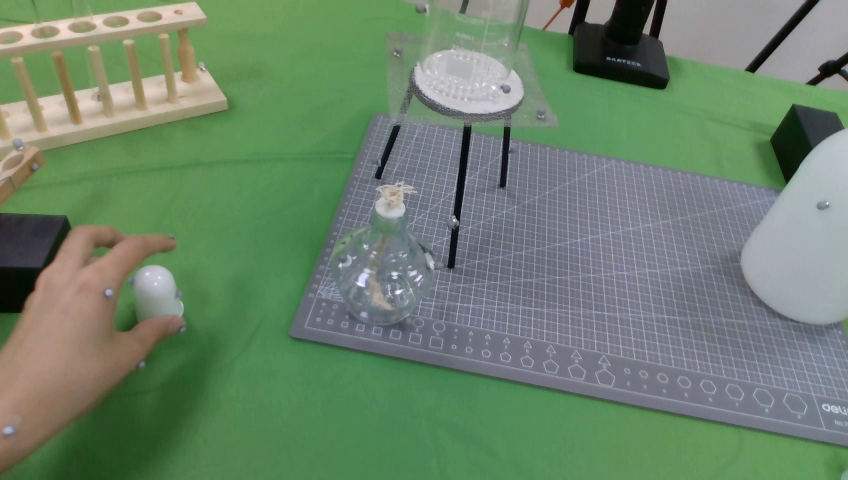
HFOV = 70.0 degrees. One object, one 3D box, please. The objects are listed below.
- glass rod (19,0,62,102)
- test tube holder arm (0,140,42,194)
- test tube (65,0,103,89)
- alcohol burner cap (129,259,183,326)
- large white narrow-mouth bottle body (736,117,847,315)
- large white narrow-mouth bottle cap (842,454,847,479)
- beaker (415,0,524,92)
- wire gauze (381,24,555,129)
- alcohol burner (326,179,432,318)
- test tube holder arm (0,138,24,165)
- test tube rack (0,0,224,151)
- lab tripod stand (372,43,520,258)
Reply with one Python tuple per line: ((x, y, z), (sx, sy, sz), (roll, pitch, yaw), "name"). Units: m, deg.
((-0.338, -0.206, 0.507), (0.008, 0.201, 0.008), (2, 41, -1), "glass rod")
((-0.305, -0.040, 0.430), (0.010, 0.015, 0.087), (13, 45, 3), "test tube holder arm")
((-0.305, -0.202, 0.534), (0.017, 0.151, 0.017), (6, 42, -5), "test tube")
((-0.191, 0.035, 0.429), (0.034, 0.048, 0.033), (6, 43, -5), "alcohol burner cap")
((0.336, -0.034, 0.477), (0.102, 0.196, 0.101), (4, 46, -4), "large white narrow-mouth bottle body")
((0.312, 0.158, 0.417), (0.038, 0.024, 0.037), (5, 46, -5), "large white narrow-mouth bottle cap")
((0.031, -0.164, 0.429), (0.084, 0.101, 0.073), (6, 48, -4), "beaker")
((0.029, -0.127, 0.463), (0.122, 0.011, 0.124), (0, 51, -8), "wire gauze")
((-0.030, 0.002, 0.435), (0.078, 0.120, 0.077), (7, 45, -6), "alcohol burner")
((-0.319, -0.011, 0.398), (0.013, 0.015, 0.177), (13, 45, 3), "test tube holder arm")
((-0.317, -0.150, 0.551), (0.243, 0.086, 0.066), (-21, 54, -27), "test tube rack")
((0.024, -0.080, 0.508), (0.149, 0.132, 0.147), (6, 47, -6), "lab tripod stand")
